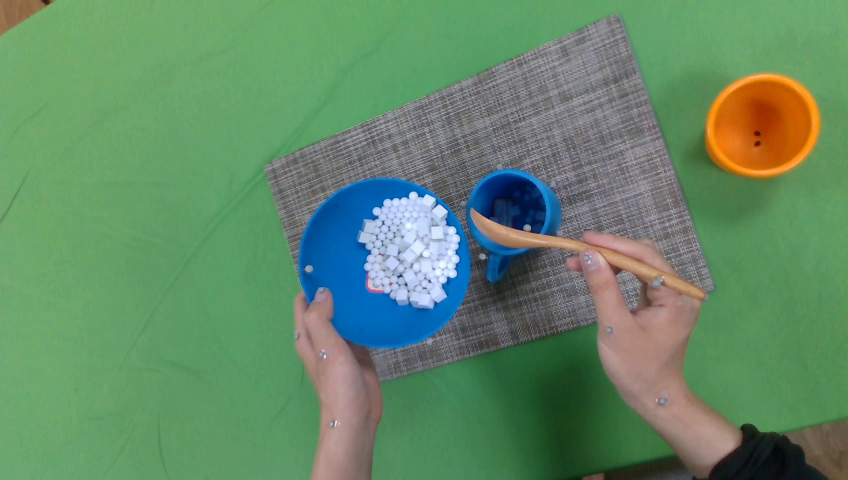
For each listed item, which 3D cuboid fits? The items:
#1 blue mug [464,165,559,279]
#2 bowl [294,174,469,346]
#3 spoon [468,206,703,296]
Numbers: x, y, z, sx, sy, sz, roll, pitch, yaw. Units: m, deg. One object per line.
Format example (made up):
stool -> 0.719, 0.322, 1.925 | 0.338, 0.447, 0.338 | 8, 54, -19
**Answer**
blue mug -> 0.087, -0.015, 0.620 | 0.082, 0.106, 0.116 | 21, 98, 16
bowl -> -0.040, 0.022, 0.555 | 0.152, 0.077, 0.151 | 2, 81, -9
spoon -> 0.109, 0.005, 0.449 | 0.192, 0.042, 0.021 | 17, 74, 37
